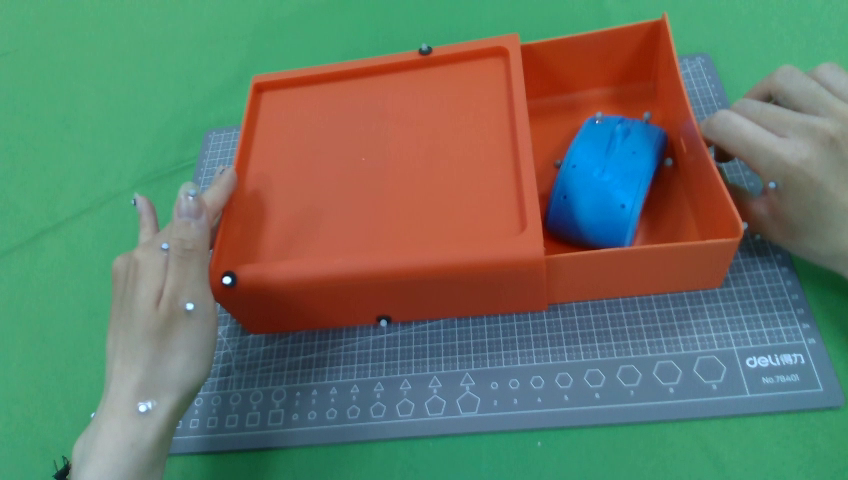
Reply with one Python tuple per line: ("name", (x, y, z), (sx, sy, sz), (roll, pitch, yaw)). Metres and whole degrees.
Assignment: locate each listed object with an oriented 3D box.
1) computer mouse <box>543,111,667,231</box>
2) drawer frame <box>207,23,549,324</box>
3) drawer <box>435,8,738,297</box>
("computer mouse", (0.126, -0.055, 0.419), (0.062, 0.041, 0.116), (8, 48, 28))
("drawer frame", (-0.024, -0.048, 0.438), (0.213, 0.083, 0.200), (-7, 57, 9))
("drawer", (0.079, -0.058, 0.425), (0.211, 0.074, 0.192), (-7, 57, 9))
